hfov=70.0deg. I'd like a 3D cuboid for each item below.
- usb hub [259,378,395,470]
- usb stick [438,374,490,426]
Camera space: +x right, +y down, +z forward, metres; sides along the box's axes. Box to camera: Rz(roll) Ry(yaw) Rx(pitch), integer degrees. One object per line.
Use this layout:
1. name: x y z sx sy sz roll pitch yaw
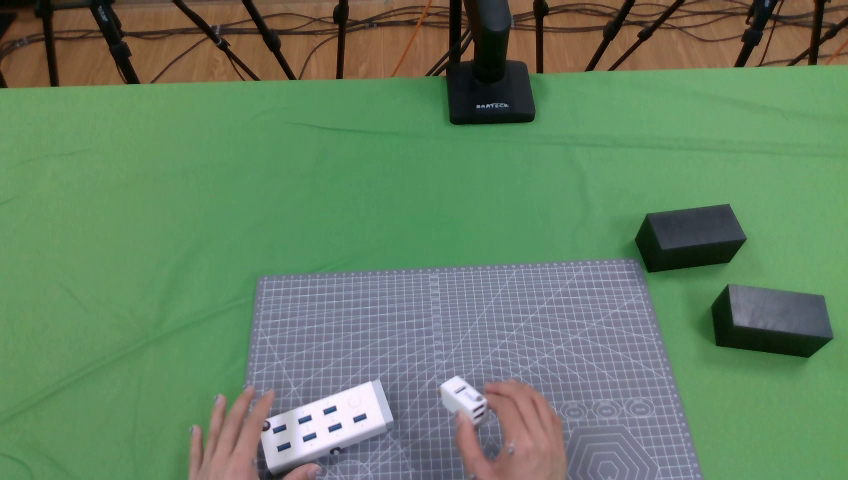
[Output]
1. usb hub: -0.095 0.180 0.600 0.125 0.025 0.049 -17 58 -12
2. usb stick: 0.033 0.143 0.554 0.021 0.027 0.058 -25 28 -27
